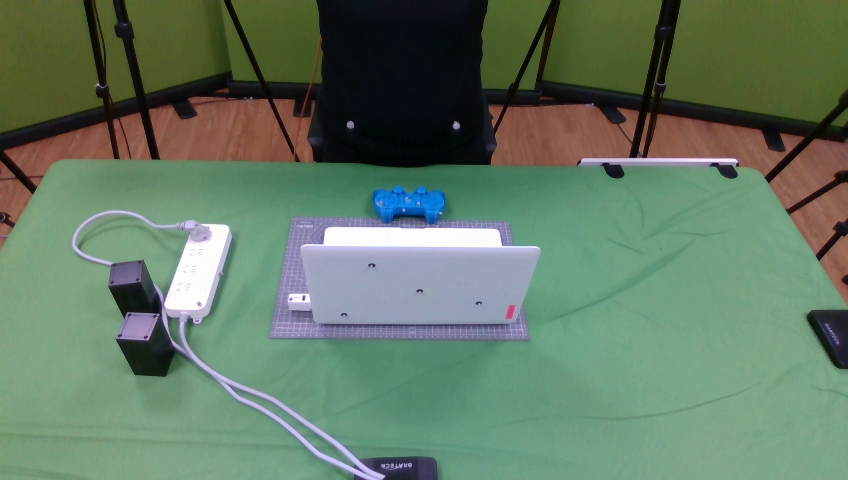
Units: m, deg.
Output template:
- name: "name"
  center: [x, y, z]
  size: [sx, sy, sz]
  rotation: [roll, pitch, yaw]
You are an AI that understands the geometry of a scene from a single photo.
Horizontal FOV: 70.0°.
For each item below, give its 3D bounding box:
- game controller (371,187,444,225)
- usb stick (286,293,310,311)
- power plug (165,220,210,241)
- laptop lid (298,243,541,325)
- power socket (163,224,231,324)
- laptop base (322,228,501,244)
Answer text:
- name: "game controller"
  center: [-0.033, -0.079, 1.254]
  size: [0.155, 0.052, 0.096]
  rotation: [1, 47, -3]
- name: "usb stick"
  center: [-0.210, 0.109, 1.059]
  size: [0.059, 0.027, 0.021]
  rotation: [4, 44, -6]
- name: "power plug"
  center: [-0.440, -0.015, 1.143]
  size: [0.072, 0.053, 0.035]
  rotation: [7, 46, 8]
- name: "laptop lid"
  center: [-0.010, 0.076, 0.958]
  size: [0.357, 0.243, 0.013]
  rotation: [1, 53, -5]
- name: "power socket"
  center: [-0.411, 0.052, 1.107]
  size: [0.072, 0.033, 0.225]
  rotation: [3, 46, -3]
- name: "laptop base"
  center: [-0.020, 0.063, 1.136]
  size: [0.355, 0.023, 0.234]
  rotation: [0, 43, -4]
